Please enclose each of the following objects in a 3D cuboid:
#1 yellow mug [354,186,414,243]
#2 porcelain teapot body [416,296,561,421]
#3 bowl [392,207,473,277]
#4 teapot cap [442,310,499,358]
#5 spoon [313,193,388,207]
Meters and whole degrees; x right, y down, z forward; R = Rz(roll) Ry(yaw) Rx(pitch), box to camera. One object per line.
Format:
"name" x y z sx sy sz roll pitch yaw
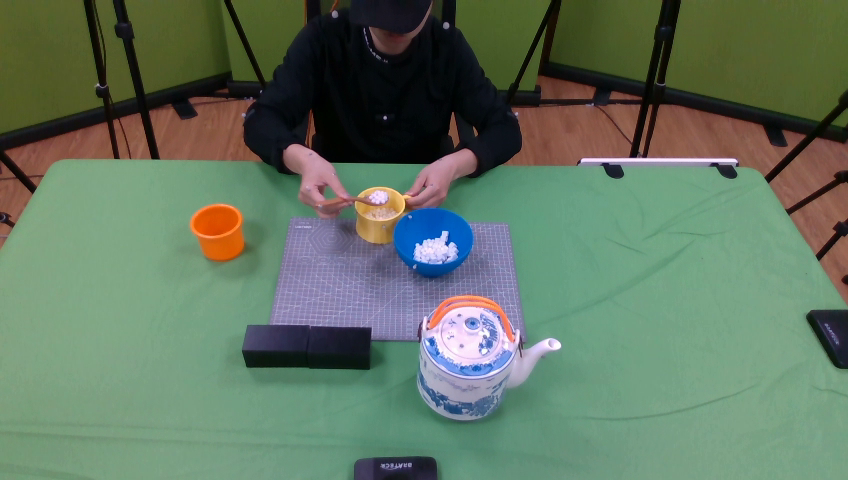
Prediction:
"yellow mug" -0.076 -0.056 1.211 0.131 0.064 0.099 -23 52 -25
"porcelain teapot body" 0.094 0.164 0.907 0.205 0.226 0.144 6 45 1
"bowl" 0.014 0.016 1.140 0.151 0.077 0.150 2 46 -2
"teapot cap" 0.068 0.133 0.880 0.085 0.044 0.084 4 45 -4
"spoon" -0.133 -0.073 1.108 0.041 0.022 0.194 33 21 27
